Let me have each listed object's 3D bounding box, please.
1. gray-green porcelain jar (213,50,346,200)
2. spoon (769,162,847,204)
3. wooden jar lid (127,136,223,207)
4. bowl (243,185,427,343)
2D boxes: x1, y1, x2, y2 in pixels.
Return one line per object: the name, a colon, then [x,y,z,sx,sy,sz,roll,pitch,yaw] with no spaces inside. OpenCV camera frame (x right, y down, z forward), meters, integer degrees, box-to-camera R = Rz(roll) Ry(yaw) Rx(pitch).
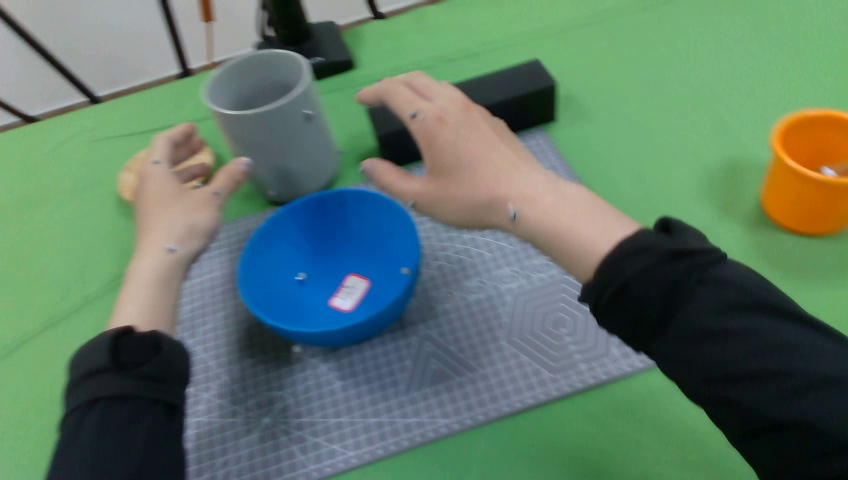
gray-green porcelain jar: [-0.142,-0.113,0.625,0.106,0.128,0.105,-5,49,6]
spoon: [0.375,-0.069,0.481,0.022,0.193,0.041,41,54,-13]
wooden jar lid: [-0.281,-0.077,0.690,0.108,0.021,0.107,-4,49,4]
bowl: [-0.067,0.033,0.514,0.151,0.077,0.150,-5,49,6]
